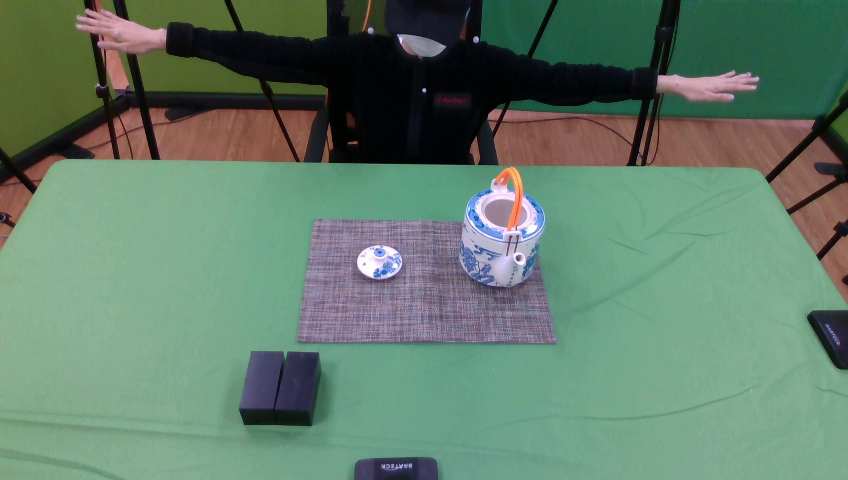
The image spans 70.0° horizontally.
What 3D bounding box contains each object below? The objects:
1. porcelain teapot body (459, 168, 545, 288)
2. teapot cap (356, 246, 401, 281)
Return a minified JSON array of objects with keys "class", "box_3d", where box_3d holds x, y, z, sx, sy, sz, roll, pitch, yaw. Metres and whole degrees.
[{"class":"porcelain teapot body","box_3d":[0.146,-0.006,1.070,0.145,0.226,0.204,-4,46,-8]},{"class":"teapot cap","box_3d":[-0.085,0.039,1.135,0.085,0.044,0.084,4,47,-4]}]
